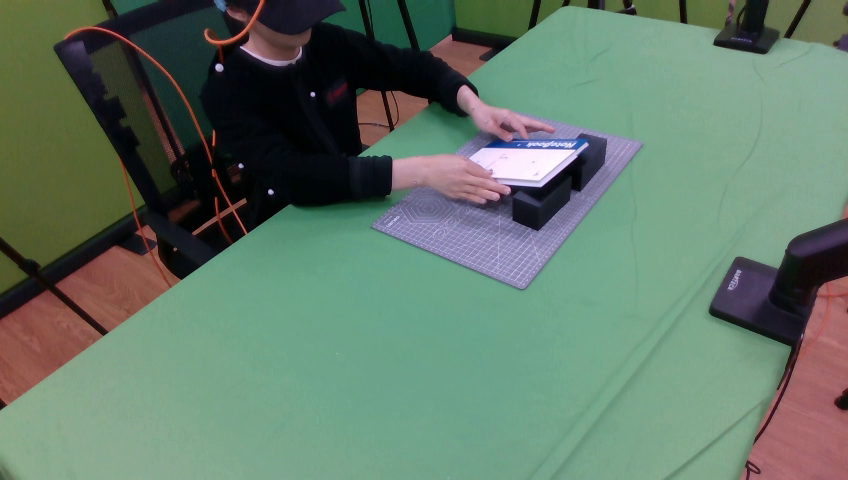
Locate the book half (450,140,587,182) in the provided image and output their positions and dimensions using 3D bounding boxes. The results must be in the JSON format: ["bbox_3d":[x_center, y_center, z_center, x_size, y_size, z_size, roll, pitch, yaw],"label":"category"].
[{"bbox_3d":[0.162,-0.143,1.065,0.208,0.007,0.144,11,40,47],"label":"book half"}]
